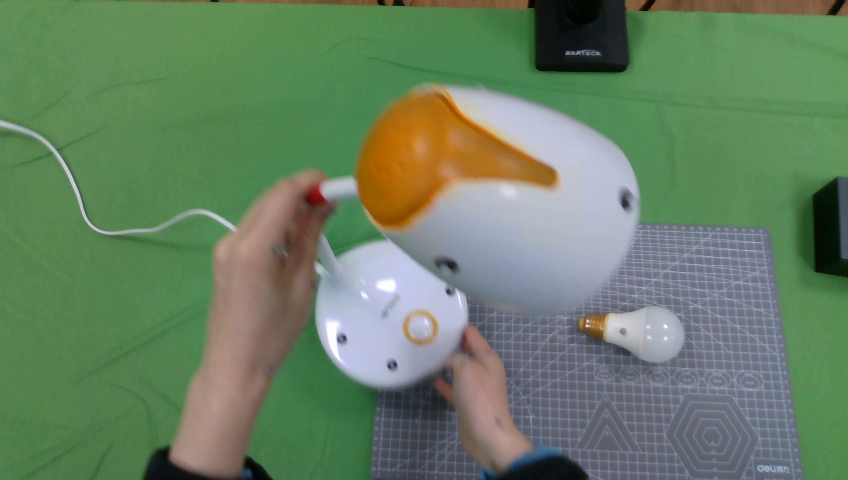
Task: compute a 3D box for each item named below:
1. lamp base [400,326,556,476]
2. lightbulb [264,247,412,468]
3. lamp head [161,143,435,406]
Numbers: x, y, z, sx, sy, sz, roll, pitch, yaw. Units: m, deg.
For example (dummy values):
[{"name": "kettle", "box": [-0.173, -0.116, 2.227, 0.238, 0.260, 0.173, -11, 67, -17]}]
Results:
[{"name": "lamp base", "box": [0.040, 0.144, 0.587, 0.179, 0.181, 0.159, 8, 72, 11]}, {"name": "lightbulb", "box": [-0.034, 0.054, 0.257, 0.059, 0.059, 0.108, -2, 116, 1]}, {"name": "lamp head", "box": [-0.069, 0.029, 0.291, 0.113, 0.123, 0.111, 16, 61, -32]}]
